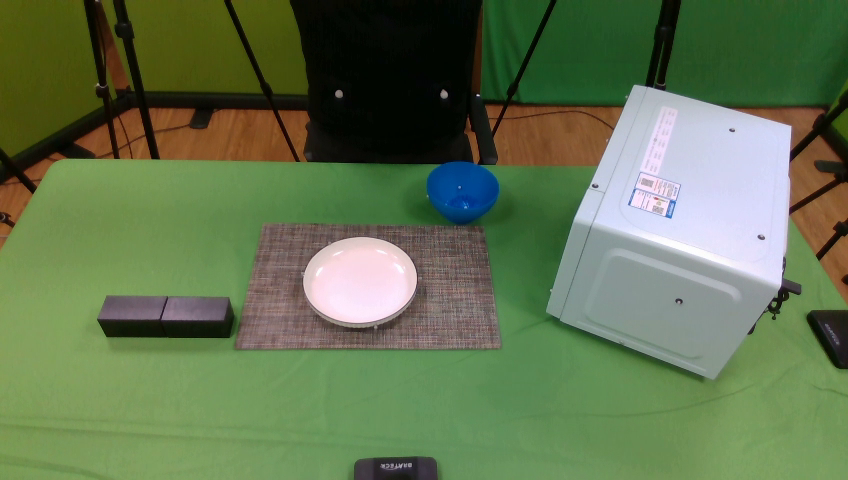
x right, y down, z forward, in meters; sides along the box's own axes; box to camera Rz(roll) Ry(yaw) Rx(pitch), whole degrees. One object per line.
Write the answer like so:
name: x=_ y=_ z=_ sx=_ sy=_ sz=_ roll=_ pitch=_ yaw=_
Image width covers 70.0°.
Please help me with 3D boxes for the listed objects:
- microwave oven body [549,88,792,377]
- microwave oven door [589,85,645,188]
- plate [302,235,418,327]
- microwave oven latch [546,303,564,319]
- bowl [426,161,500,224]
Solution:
microwave oven body: x=0.456 y=-0.028 z=1.088 sx=0.325 sy=0.261 sz=0.440 roll=20 pitch=47 yaw=16
microwave oven door: x=0.342 y=-0.107 z=1.149 sx=0.039 sy=0.245 sz=0.354 roll=20 pitch=48 yaw=15
plate: x=-0.114 y=0.077 z=1.098 sx=0.208 sy=0.039 sz=0.206 roll=2 pitch=46 yaw=-2
microwave oven latch: x=0.242 y=0.102 z=1.081 sx=0.030 sy=0.029 sz=0.079 roll=21 pitch=48 yaw=17
bowl: x=0.077 y=-0.086 z=1.248 sx=0.151 sy=0.077 sz=0.150 roll=2 pitch=46 yaw=-2
